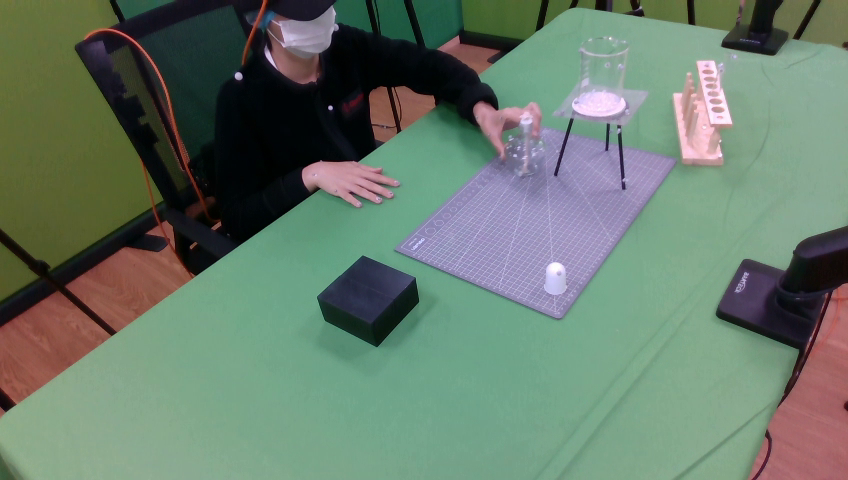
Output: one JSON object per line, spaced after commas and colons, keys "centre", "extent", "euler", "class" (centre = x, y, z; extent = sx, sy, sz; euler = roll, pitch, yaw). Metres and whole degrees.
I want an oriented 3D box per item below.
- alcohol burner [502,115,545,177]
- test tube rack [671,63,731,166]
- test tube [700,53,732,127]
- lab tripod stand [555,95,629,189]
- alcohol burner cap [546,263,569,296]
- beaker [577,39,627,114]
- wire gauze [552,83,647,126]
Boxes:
{"centre": [0.178, -0.172, 1.077], "extent": [0.078, 0.119, 0.077], "euler": [-3, 42, 4], "class": "alcohol burner"}
{"centre": [0.513, -0.241, 1.132], "extent": [0.066, 0.085, 0.242], "euler": [4, 41, 14], "class": "test tube rack"}
{"centre": [0.521, -0.265, 1.081], "extent": [0.017, 0.151, 0.017], "euler": [-3, 47, 3], "class": "test tube"}
{"centre": [0.300, -0.174, 1.045], "extent": [0.148, 0.132, 0.147], "euler": [-5, 38, 5], "class": "lab tripod stand"}
{"centre": [0.191, 0.053, 0.862], "extent": [0.034, 0.048, 0.033], "euler": [-5, 40, 4], "class": "alcohol burner cap"}
{"centre": [0.286, -0.264, 0.976], "extent": [0.073, 0.100, 0.084], "euler": [25, 49, 33], "class": "beaker"}
{"centre": [0.293, -0.224, 1.004], "extent": [0.120, 0.011, 0.125], "euler": [19, 43, 26], "class": "wire gauze"}
